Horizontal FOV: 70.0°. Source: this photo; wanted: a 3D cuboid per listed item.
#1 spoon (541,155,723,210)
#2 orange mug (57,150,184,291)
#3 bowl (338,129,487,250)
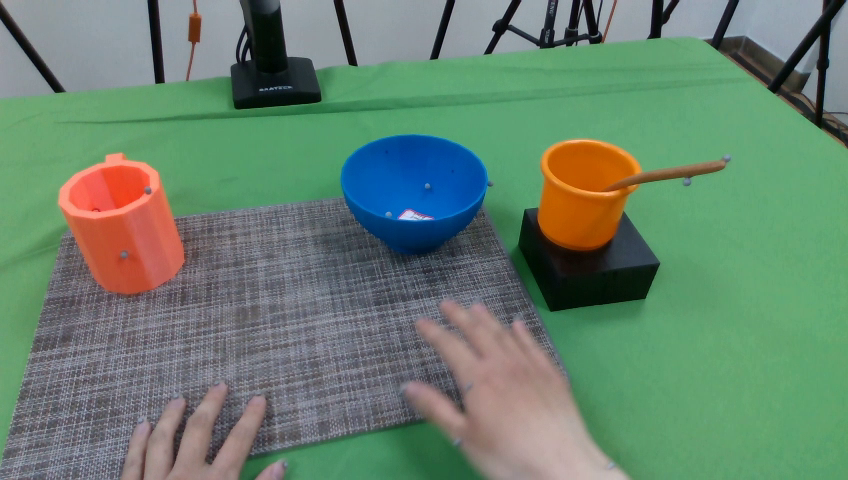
[{"bbox_3d":[0.173,-0.051,0.534,0.041,0.193,0.021,-29,95,-28],"label":"spoon"},{"bbox_3d":[-0.291,-0.028,0.589,0.084,0.101,0.125,-13,50,-16],"label":"orange mug"},{"bbox_3d":[-0.013,-0.043,0.635,0.151,0.077,0.150,2,43,-1],"label":"bowl"}]
